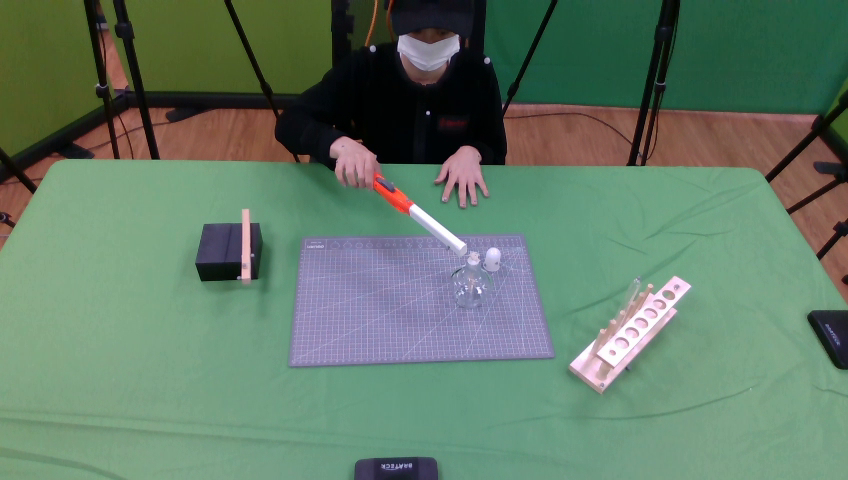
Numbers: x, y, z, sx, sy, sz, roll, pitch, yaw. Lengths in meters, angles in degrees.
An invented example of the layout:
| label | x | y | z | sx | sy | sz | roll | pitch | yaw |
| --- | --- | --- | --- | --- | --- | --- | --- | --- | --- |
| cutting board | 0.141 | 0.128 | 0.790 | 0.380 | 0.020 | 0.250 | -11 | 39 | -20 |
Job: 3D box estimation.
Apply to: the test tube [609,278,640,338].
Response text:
| label | x | y | z | sx | sy | sz | roll | pitch | yaw |
| --- | --- | --- | --- | --- | --- | --- | --- | --- | --- |
| test tube | 0.331 | 0.115 | 1.007 | 0.017 | 0.151 | 0.017 | 2 | 45 | -2 |

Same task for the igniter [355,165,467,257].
| label | x | y | z | sx | sy | sz | roll | pitch | yaw |
| --- | --- | --- | --- | --- | --- | --- | --- | --- | --- |
| igniter | -0.030 | -0.058 | 1.090 | 0.275 | 0.057 | 0.025 | 38 | 68 | 25 |

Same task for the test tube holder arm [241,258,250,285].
| label | x | y | z | sx | sy | sz | roll | pitch | yaw |
| --- | --- | --- | --- | --- | --- | --- | --- | --- | --- |
| test tube holder arm | -0.316 | 0.042 | 1.071 | 0.015 | 0.010 | 0.087 | -1 | 48 | -15 |

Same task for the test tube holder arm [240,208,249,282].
| label | x | y | z | sx | sy | sz | roll | pitch | yaw |
| --- | --- | --- | --- | --- | --- | --- | --- | --- | --- |
| test tube holder arm | -0.323 | 0.005 | 1.096 | 0.015 | 0.013 | 0.177 | -1 | 48 | -15 |

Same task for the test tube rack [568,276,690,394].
| label | x | y | z | sx | sy | sz | roll | pitch | yaw |
| --- | --- | --- | --- | --- | --- | --- | --- | --- | --- |
| test tube rack | 0.353 | 0.149 | 1.039 | 0.242 | 0.085 | 0.066 | -34 | 56 | -31 |

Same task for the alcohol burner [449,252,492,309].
| label | x | y | z | sx | sy | sz | roll | pitch | yaw |
| --- | --- | --- | --- | --- | --- | --- | --- | --- | --- |
| alcohol burner | 0.084 | 0.066 | 1.074 | 0.078 | 0.120 | 0.077 | 1 | 44 | -1 |

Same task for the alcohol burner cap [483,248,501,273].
| label | x | y | z | sx | sy | sz | roll | pitch | yaw |
| --- | --- | --- | --- | --- | --- | --- | --- | --- | --- |
| alcohol burner cap | 0.130 | 0.037 | 1.156 | 0.034 | 0.048 | 0.033 | 1 | 45 | -1 |
